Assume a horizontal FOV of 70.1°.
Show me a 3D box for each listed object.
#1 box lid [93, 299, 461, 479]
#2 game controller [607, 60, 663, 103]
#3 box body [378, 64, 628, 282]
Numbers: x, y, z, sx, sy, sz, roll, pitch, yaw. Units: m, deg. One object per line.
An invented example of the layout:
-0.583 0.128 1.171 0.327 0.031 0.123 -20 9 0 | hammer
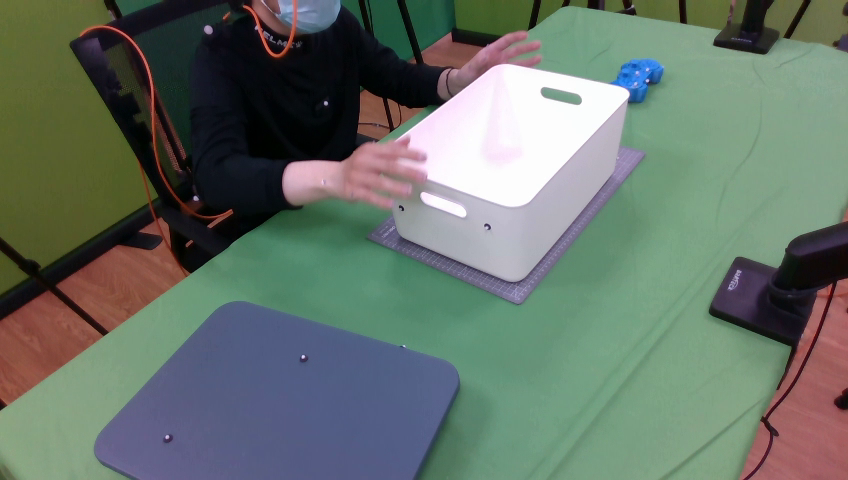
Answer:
-0.164 0.200 0.701 0.369 0.015 0.263 13 44 21 | box lid
0.442 -0.345 1.288 0.096 0.052 0.155 25 50 27 | game controller
0.137 -0.121 0.978 0.252 0.161 0.365 22 48 30 | box body
